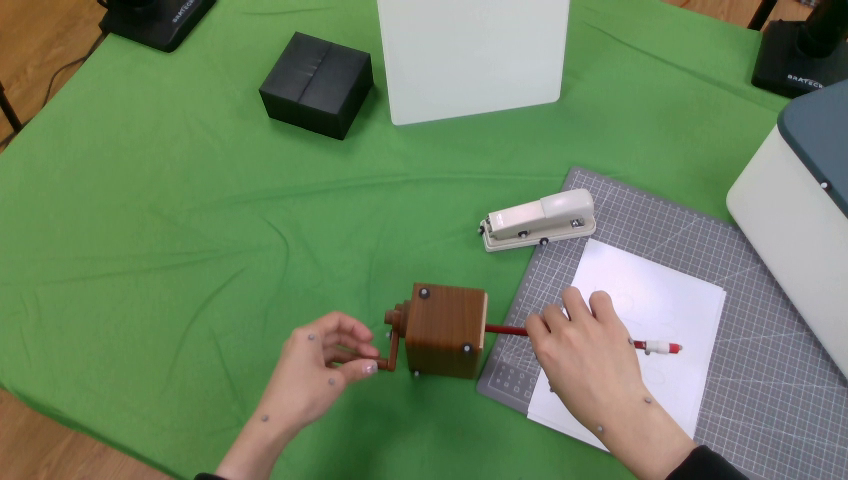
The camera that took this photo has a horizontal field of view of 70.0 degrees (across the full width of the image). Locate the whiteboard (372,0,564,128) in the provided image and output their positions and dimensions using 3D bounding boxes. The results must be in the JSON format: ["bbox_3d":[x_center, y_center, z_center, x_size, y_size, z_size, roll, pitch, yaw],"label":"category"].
[{"bbox_3d":[0.041,-0.313,0.705,0.217,0.308,0.142,-9,45,-4],"label":"whiteboard"}]

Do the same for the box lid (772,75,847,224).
[{"bbox_3d":[0.508,-0.018,0.526,0.263,0.015,0.368,-20,67,-11],"label":"box lid"}]

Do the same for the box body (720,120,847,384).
[{"bbox_3d":[0.508,0.017,0.592,0.254,0.161,0.361,-21,66,-11],"label":"box body"}]

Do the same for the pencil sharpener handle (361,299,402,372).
[{"bbox_3d":[-0.039,0.087,0.558,0.030,0.036,0.067,6,82,3],"label":"pencil sharpener handle"}]

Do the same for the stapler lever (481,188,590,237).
[{"bbox_3d":[0.122,-0.030,0.660,0.118,0.040,0.026,-10,60,-2],"label":"stapler lever"}]

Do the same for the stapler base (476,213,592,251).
[{"bbox_3d":[0.125,-0.019,0.682,0.130,0.024,0.041,-10,60,-2],"label":"stapler base"}]

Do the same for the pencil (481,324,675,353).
[{"bbox_3d":[0.126,0.087,0.549,0.194,0.012,0.012,5,63,6],"label":"pencil"}]

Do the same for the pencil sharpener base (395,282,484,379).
[{"bbox_3d":[0.014,0.089,0.583,0.076,0.108,0.061,6,64,3],"label":"pencil sharpener base"}]
